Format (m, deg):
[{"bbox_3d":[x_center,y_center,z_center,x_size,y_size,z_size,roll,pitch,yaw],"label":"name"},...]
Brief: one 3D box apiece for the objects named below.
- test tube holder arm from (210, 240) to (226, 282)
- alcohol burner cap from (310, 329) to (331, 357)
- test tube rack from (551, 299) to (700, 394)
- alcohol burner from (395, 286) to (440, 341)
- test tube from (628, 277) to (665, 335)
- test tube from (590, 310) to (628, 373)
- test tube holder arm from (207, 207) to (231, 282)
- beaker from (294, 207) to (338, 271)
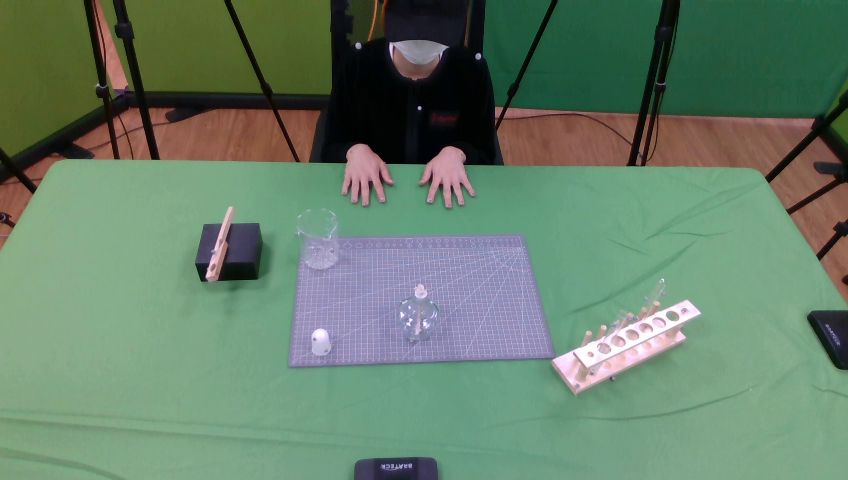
[{"bbox_3d":[-0.363,0.036,1.070,0.010,0.015,0.087,-3,47,-1],"label":"test tube holder arm"},{"bbox_3d":[-0.173,0.168,1.005,0.034,0.048,0.033,2,46,-2],"label":"alcohol burner cap"},{"bbox_3d":[0.339,0.166,1.021,0.242,0.085,0.066,-19,50,-21],"label":"test tube rack"},{"bbox_3d":[-0.010,0.116,1.018,0.078,0.119,0.077,3,47,-3],"label":"alcohol burner"},{"bbox_3d":[0.371,0.112,1.014,0.017,0.151,0.017,3,47,-3],"label":"test tube"},{"bbox_3d":[0.288,0.162,0.951,0.017,0.151,0.017,4,44,-4],"label":"test tube"},{"bbox_3d":[-0.371,0.004,1.100,0.013,0.015,0.177,-4,47,-1],"label":"test tube holder arm"},{"bbox_3d":[-0.196,0.003,1.123,0.074,0.101,0.083,-23,53,-24],"label":"beaker"}]
